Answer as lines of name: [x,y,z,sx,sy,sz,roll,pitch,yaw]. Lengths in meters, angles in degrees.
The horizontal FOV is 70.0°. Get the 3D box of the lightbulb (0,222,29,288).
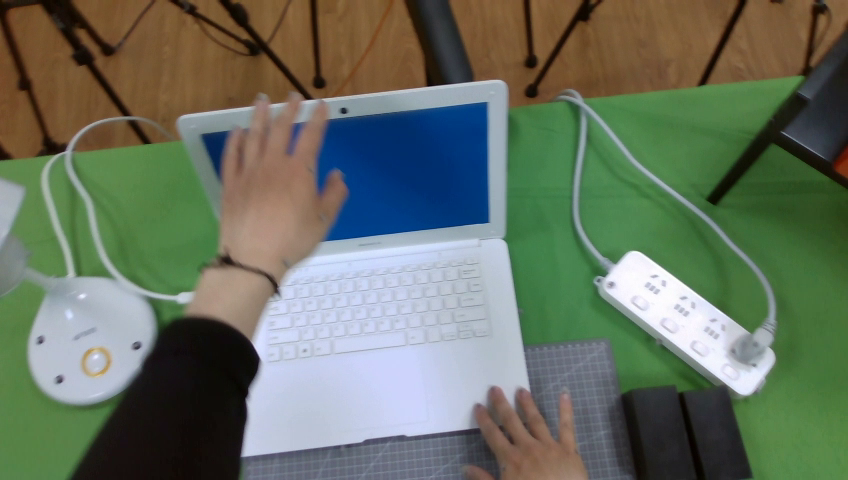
lightbulb: [-0.351,-0.001,0.444,0.059,0.109,0.059,-27,46,32]

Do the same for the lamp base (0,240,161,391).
lamp base: [-0.427,0.075,0.701,0.160,0.181,0.178,-36,69,-10]

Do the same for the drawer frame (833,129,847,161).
drawer frame: [0.551,-0.117,0.580,0.200,0.083,0.213,38,76,15]

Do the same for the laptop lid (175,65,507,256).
laptop lid: [-0.078,-0.081,0.714,0.357,0.244,0.013,-8,45,1]

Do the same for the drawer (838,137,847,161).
drawer: [0.551,-0.114,0.580,0.193,0.074,0.211,38,76,16]

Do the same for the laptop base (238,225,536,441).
laptop base: [-0.054,0.110,0.756,0.354,0.023,0.234,-7,73,0]

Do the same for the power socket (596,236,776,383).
power socket: [0.318,0.082,0.738,0.225,0.033,0.072,40,77,15]

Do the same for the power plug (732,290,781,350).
power plug: [0.391,0.098,0.704,0.072,0.053,0.035,-37,72,-12]

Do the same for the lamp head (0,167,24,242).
lamp head: [-0.372,-0.020,0.431,0.124,0.112,0.112,26,67,-33]

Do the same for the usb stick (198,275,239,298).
usb stick: [-0.255,0.059,0.773,0.059,0.027,0.021,-3,64,-1]
